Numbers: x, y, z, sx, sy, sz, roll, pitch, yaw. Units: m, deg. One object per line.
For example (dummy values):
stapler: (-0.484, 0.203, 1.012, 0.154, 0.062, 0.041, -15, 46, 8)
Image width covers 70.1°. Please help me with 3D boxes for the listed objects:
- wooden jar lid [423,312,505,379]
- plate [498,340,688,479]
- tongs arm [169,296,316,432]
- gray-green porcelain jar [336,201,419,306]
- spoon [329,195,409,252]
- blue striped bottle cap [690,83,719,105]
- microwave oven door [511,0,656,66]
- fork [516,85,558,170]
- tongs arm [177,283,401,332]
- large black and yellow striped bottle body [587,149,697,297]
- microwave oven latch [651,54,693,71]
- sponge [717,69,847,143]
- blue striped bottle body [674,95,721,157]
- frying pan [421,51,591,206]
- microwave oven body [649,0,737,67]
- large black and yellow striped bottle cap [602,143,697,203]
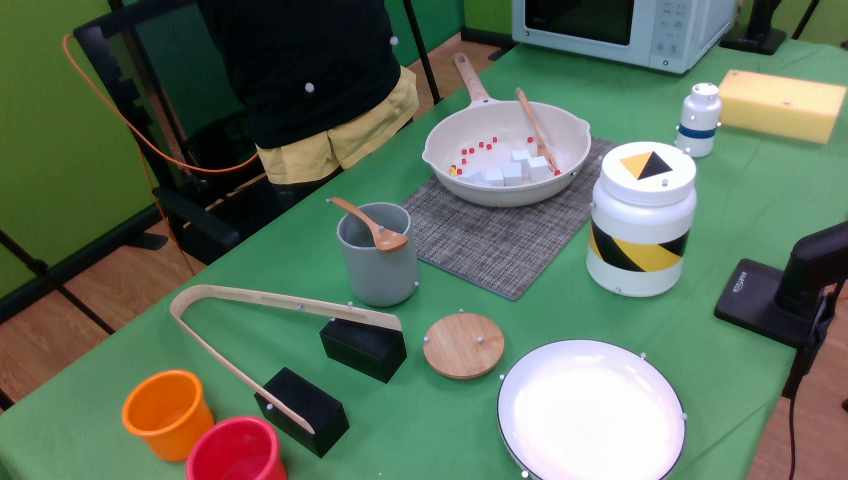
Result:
wooden jar lid: (0.053, 0.142, 0.800, 0.108, 0.021, 0.108, -4, 39, 4)
plate: (0.189, 0.206, 0.692, 0.207, 0.039, 0.206, -4, 40, 4)
tongs arm: (-0.248, 0.148, 0.775, 0.384, 0.028, 0.028, 21, 56, 44)
gray-green porcelain jar: (-0.064, 0.024, 0.872, 0.106, 0.127, 0.105, -4, 41, 4)
spoon: (-0.082, -0.029, 0.828, 0.042, 0.022, 0.192, -32, 43, -20)
blue striped bottle cap: (0.481, -0.251, 1.038, 0.044, 0.021, 0.044, -5, 40, 5)
microwave oven door: (0.351, -0.539, 1.349, 0.353, 0.245, 0.039, 24, 50, 31)
fork: (0.208, -0.213, 1.134, 0.028, 0.019, 0.206, -15, 66, 0)
tongs arm: (-0.199, 0.096, 0.823, 0.382, 0.027, 0.051, 7, 44, 34)
large black and yellow striped bottle body: (0.298, -0.026, 0.835, 0.131, 0.185, 0.130, -4, 41, 4)
microwave oven latch: (0.531, -0.386, 1.301, 0.078, 0.029, 0.030, 26, 51, 34)
sponge: (0.663, -0.256, 1.142, 0.205, 0.061, 0.118, 19, 47, 28)
blue striped bottle body: (0.486, -0.213, 1.071, 0.063, 0.121, 0.063, -4, 41, 4)
frying pan: (0.127, -0.233, 1.155, 0.307, 0.103, 0.484, -11, 49, -5)
microwave oven body: (0.475, -0.602, 1.411, 0.438, 0.261, 0.327, 23, 50, 32)
large black and yellow striped bottle cap: (0.289, -0.088, 0.779, 0.115, 0.019, 0.114, -5, 40, 4)
